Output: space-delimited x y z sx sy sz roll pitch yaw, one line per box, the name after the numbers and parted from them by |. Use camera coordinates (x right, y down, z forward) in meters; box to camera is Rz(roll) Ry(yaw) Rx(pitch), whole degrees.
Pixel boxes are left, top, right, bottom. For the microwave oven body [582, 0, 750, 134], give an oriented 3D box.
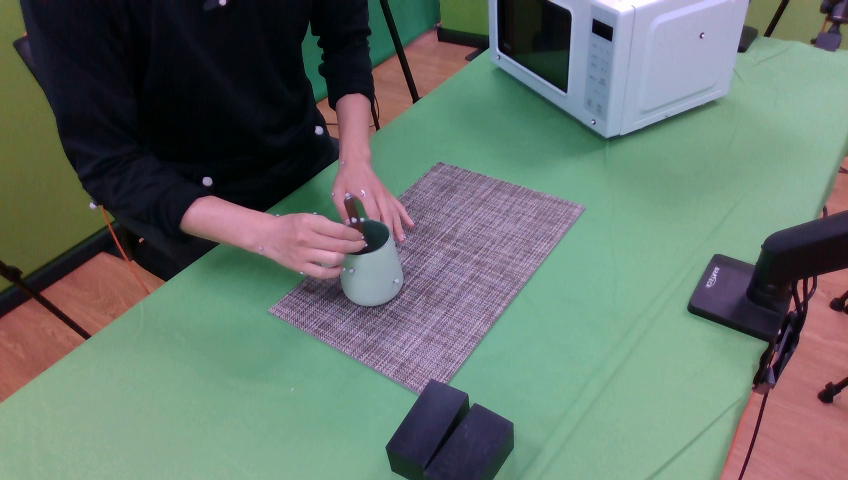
0.382 -0.445 1.246 0.327 0.261 0.437 -22 42 -16 | microwave oven body

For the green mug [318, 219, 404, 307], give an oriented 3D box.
-0.096 0.032 0.876 0.125 0.105 0.092 8 43 17 | green mug

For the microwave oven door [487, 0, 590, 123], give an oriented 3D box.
0.232 -0.420 1.230 0.039 0.245 0.352 -22 43 -16 | microwave oven door

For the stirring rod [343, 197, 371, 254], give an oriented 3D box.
-0.081 0.010 0.815 0.014 0.177 0.005 -29 45 -16 | stirring rod

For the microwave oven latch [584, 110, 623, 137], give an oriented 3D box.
0.337 -0.222 1.142 0.030 0.029 0.078 -21 42 -14 | microwave oven latch
